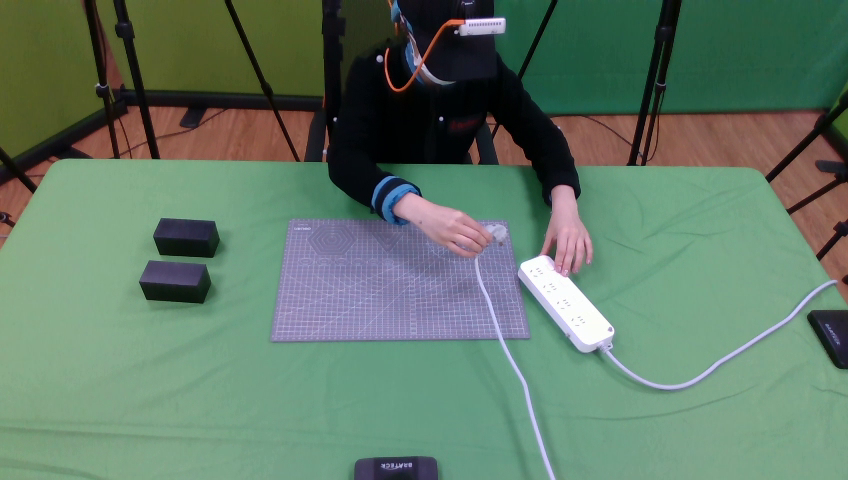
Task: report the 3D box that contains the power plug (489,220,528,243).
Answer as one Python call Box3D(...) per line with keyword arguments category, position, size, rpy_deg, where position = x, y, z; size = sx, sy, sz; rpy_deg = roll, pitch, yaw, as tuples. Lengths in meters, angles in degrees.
Box3D(category="power plug", position=(0.152, -0.015, 1.085), size=(0.072, 0.035, 0.052), rpy_deg=(-1, 38, 4))

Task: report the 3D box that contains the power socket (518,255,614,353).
Box3D(category="power socket", position=(0.253, 0.111, 1.099), size=(0.072, 0.033, 0.225), rpy_deg=(-19, 50, -21))
